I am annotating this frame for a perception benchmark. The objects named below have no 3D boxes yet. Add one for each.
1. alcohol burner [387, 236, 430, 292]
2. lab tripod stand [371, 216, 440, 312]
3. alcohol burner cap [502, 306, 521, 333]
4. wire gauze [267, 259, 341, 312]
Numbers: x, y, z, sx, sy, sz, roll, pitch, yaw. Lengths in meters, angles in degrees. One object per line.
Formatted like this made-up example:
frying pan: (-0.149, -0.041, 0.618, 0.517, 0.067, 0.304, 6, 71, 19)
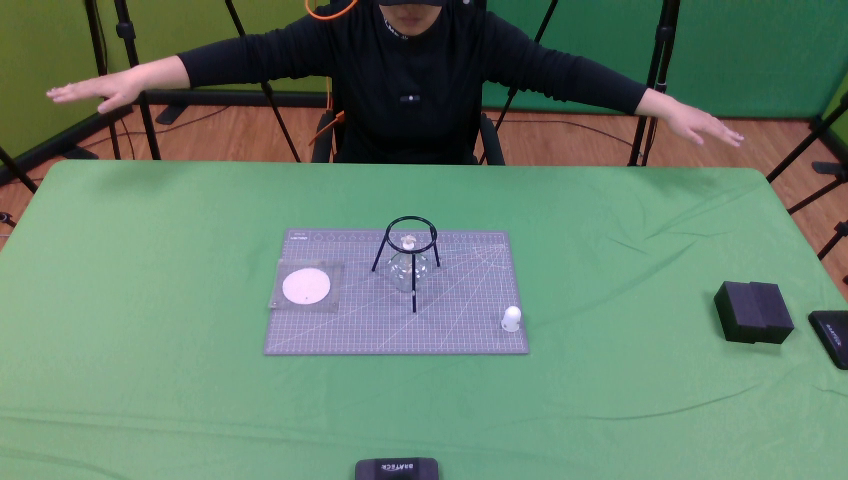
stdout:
alcohol burner: (-0.028, 0.038, 1.093, 0.078, 0.120, 0.077, 1, 46, -1)
lab tripod stand: (-0.029, 0.033, 1.084, 0.148, 0.132, 0.147, 1, 47, -1)
alcohol burner cap: (0.155, 0.137, 1.061, 0.034, 0.048, 0.033, 1, 45, -1)
wire gauze: (-0.218, 0.081, 1.110, 0.125, 0.011, 0.120, 1, 46, 0)
